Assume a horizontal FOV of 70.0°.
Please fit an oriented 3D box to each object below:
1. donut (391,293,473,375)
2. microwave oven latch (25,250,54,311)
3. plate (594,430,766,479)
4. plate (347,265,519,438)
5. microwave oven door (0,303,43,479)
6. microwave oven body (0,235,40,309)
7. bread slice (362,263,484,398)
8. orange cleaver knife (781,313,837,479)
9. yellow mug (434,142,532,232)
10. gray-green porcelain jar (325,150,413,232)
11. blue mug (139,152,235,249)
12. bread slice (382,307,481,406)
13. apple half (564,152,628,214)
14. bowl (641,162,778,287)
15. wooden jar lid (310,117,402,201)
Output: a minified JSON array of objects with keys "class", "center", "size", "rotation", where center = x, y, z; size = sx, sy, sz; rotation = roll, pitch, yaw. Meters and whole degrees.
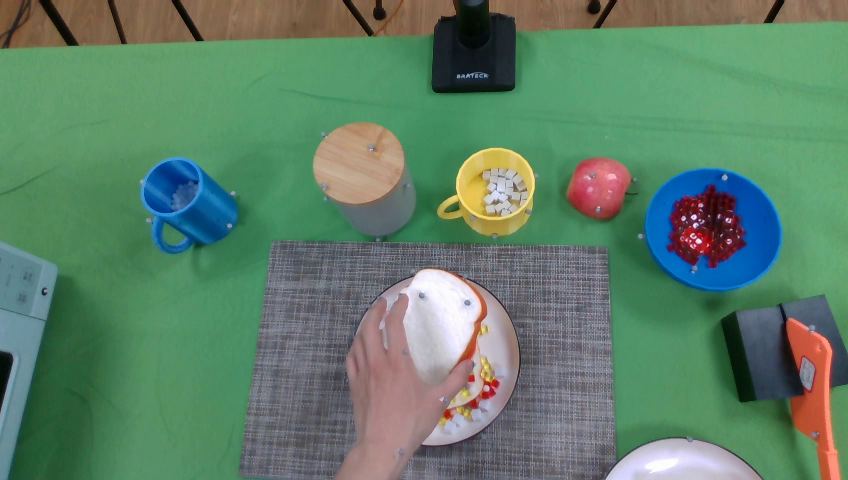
[{"class":"donut","center":[0.010,0.111,0.719],"size":[0.099,0.048,0.098],"rotation":[-2,72,7]},{"class":"microwave oven latch","center":[-0.524,0.054,0.812],"size":[0.030,0.030,0.078],"rotation":[4,74,8]},{"class":"plate","center":[0.279,0.314,0.658],"size":[0.209,0.038,0.208],"rotation":[-2,72,7]},{"class":"plate","center":[0.011,0.135,0.742],"size":[0.207,0.039,0.206],"rotation":[-2,73,6]},{"class":"microwave oven door","center":[-0.551,0.231,0.652],"size":[0.039,0.245,0.353],"rotation":[1,72,8]},{"class":"microwave oven body","center":[-0.692,0.190,0.687],"size":[0.325,0.262,0.439],"rotation":[1,73,7]},{"class":"bread slice","center":[0.001,0.090,0.663],"size":[0.104,0.019,0.131],"rotation":[31,94,19]},{"class":"orange cleaver knife","center":[0.419,0.186,0.659],"size":[0.012,0.077,0.211],"rotation":[-9,93,-3]},{"class":"yellow mug","center":[0.074,-0.062,0.785],"size":[0.131,0.064,0.099],"rotation":[-20,71,1]},{"class":"gray-green porcelain jar","center":[-0.070,-0.074,0.774],"size":[0.106,0.127,0.105],"rotation":[-2,72,6]},{"class":"blue mug","center":[-0.319,-0.043,0.803],"size":[0.082,0.106,0.116],"rotation":[22,76,13]},{"class":"bread slice","center":[0.016,0.134,0.743],"size":[0.107,0.018,0.133],"rotation":[-16,72,1]},{"class":"apple half","center":[0.223,-0.080,0.781],"size":[0.074,0.054,0.080],"rotation":[23,77,16]},{"class":"bowl","center":[0.332,-0.009,0.732],"size":[0.151,0.077,0.150],"rotation":[-2,72,7]},{"class":"wooden jar lid","center":[-0.079,-0.094,0.714],"size":[0.108,0.021,0.107],"rotation":[-1,70,4]}]
